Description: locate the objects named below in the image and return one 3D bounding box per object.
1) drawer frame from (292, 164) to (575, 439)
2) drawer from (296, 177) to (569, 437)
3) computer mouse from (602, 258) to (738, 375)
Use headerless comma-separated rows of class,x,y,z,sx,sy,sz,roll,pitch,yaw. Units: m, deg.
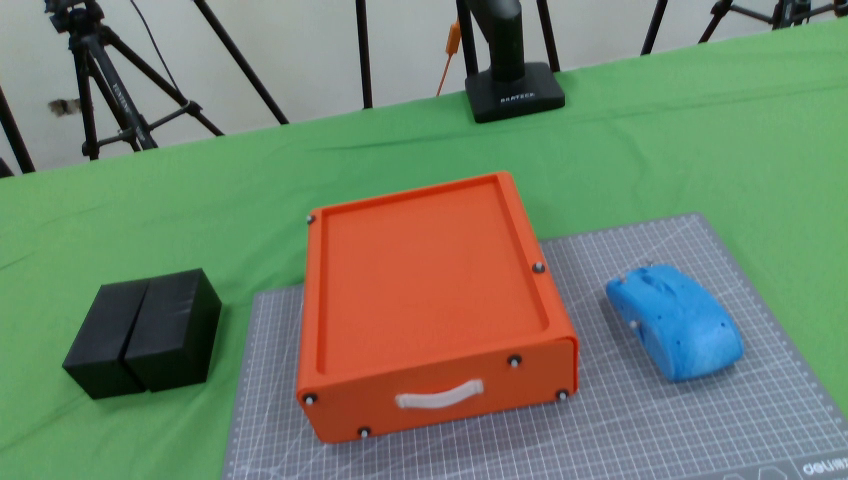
drawer frame,0.000,0.042,0.514,0.202,0.083,0.211,-12,40,1
drawer,0.000,0.045,0.513,0.194,0.074,0.209,-12,41,2
computer mouse,0.194,0.054,0.488,0.063,0.041,0.116,-17,37,-3
